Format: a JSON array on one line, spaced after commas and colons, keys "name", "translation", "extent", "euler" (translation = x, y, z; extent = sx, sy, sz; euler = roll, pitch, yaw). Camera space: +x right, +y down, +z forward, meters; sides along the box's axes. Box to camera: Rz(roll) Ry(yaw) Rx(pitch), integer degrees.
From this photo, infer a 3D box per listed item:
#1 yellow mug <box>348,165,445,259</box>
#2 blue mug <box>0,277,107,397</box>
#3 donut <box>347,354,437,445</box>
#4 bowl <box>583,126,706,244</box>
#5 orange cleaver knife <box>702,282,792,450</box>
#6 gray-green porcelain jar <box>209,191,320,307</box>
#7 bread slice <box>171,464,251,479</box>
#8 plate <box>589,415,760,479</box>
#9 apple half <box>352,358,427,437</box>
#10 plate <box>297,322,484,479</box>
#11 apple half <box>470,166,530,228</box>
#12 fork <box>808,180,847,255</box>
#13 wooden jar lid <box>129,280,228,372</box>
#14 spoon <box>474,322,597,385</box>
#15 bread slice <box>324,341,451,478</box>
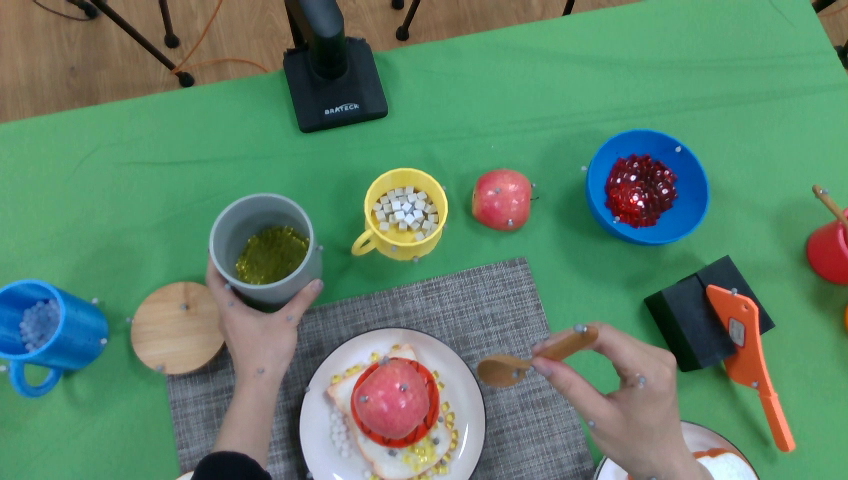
[{"name": "yellow mug", "translation": [-0.038, -0.024, 0.737], "extent": [0.131, 0.064, 0.099], "euler": [-37, 80, -13]}, {"name": "blue mug", "translation": [-0.406, 0.108, 0.645], "extent": [0.082, 0.106, 0.116], "euler": [7, 73, -3]}, {"name": "donut", "translation": [-0.034, 0.174, 0.660], "extent": [0.099, 0.048, 0.098], "euler": [2, 73, -5]}, {"name": "bowl", "translation": [0.266, -0.059, 0.768], "extent": [0.151, 0.077, 0.150], "euler": [1, 74, -4]}, {"name": "orange cleaver knife", "translation": [0.379, 0.147, 0.715], "extent": [0.012, 0.077, 0.212], "euler": [-24, 99, -18]}, {"name": "gray-green porcelain jar", "translation": [-0.173, 0.017, 0.682], "extent": [0.106, 0.127, 0.105], "euler": [2, 73, -5]}, {"name": "bread slice", "translation": [-0.232, 0.308, 0.644], "extent": [0.105, 0.019, 0.131], "euler": [-5, 75, -8]}, {"name": "plate", "translation": [0.280, 0.305, 0.682], "extent": [0.209, 0.038, 0.208], "euler": [1, 73, -4]}, {"name": "apple half", "translation": [-0.035, 0.163, 0.626], "extent": [0.081, 0.033, 0.081], "euler": [0, 74, 2]}, {"name": "plate", "translation": [-0.037, 0.198, 0.683], "extent": [0.208, 0.039, 0.206], "euler": [1, 74, -5]}, {"name": "apple half", "translation": [0.097, -0.060, 0.767], "extent": [0.075, 0.053, 0.080], "euler": [8, 73, 0]}, {"name": "fork", "translation": [0.507, -0.022, 0.741], "extent": [0.209, 0.018, 0.028], "euler": [32, 67, -39]}, {"name": "wooden jar lid", "translation": [-0.281, 0.100, 0.700], "extent": [0.108, 0.021, 0.107], "euler": [1, 70, -3]}, {"name": "spoon", "translation": [0.083, 0.091, 0.467], "extent": [0.042, 0.194, 0.021], "euler": [26, 68, -5]}, {"name": "bread slice", "translation": [-0.032, 0.196, 0.684], "extent": [0.107, 0.018, 0.133], "euler": [-31, 78, -12]}]
